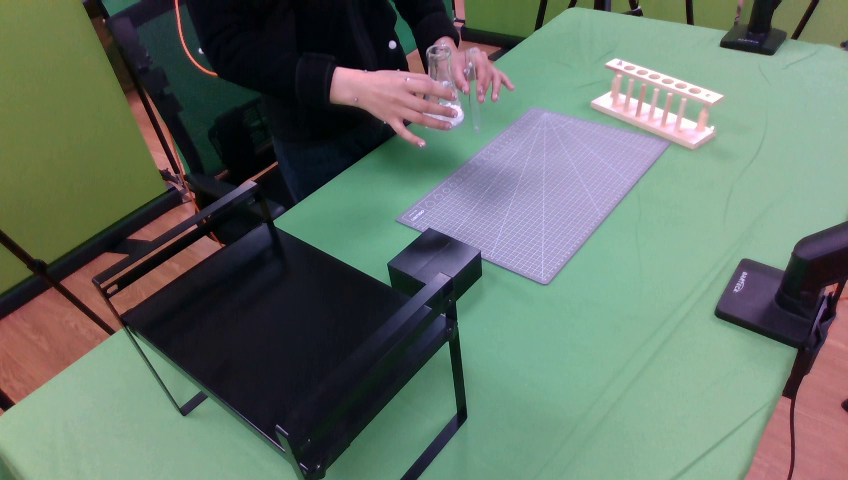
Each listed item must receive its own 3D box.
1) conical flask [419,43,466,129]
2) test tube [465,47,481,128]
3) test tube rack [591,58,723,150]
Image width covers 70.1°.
[{"bbox_3d":[0.026,-0.240,0.938,0.075,0.122,0.075,-2,43,2],"label":"conical flask"},{"bbox_3d":[0.084,-0.258,1.036,0.017,0.151,0.017,-6,42,6],"label":"test tube"},{"bbox_3d":[0.442,-0.269,1.171,0.067,0.085,0.240,-30,46,-24],"label":"test tube rack"}]
